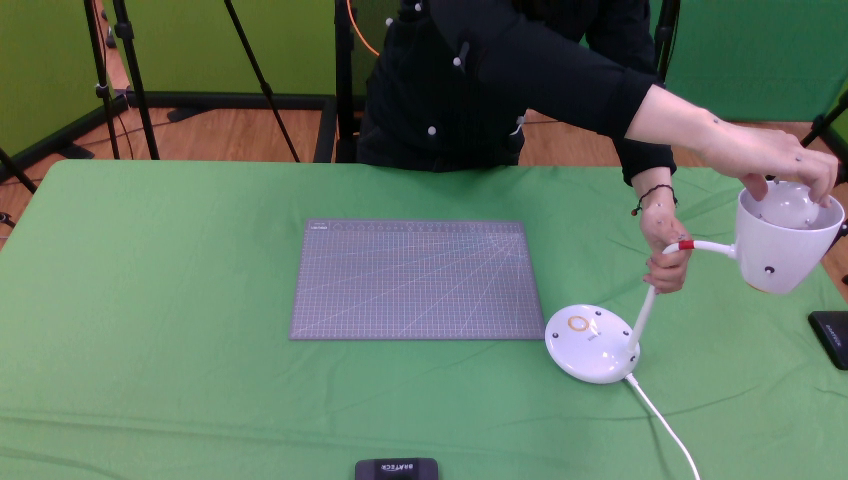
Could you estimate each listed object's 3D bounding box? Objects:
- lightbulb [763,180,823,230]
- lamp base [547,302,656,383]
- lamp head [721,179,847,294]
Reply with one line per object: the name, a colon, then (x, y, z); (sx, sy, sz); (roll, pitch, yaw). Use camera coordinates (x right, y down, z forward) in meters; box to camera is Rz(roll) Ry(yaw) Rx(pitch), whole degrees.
lightbulb: (0.427, -0.020, 0.712); (0.059, 0.108, 0.059); (-2, 33, 2)
lamp base: (0.304, 0.127, 0.982); (0.160, 0.181, 0.178); (-33, 59, -29)
lamp head: (0.422, 0.002, 0.726); (0.112, 0.123, 0.111); (0, 39, 1)
